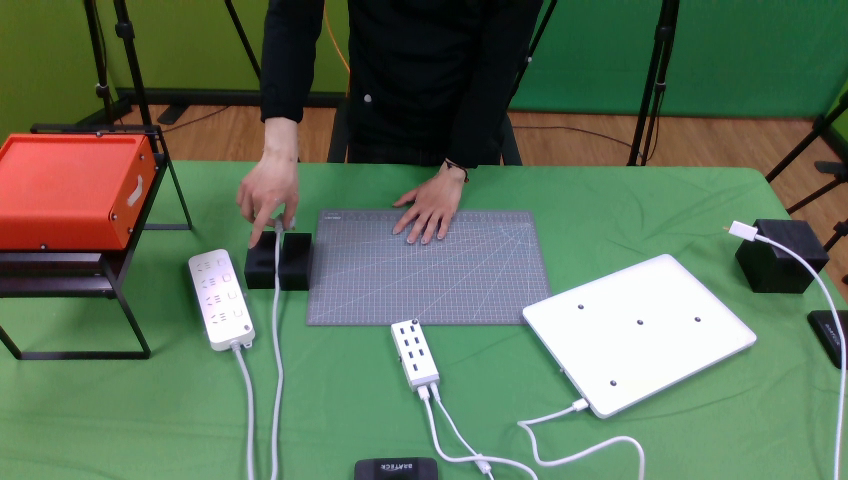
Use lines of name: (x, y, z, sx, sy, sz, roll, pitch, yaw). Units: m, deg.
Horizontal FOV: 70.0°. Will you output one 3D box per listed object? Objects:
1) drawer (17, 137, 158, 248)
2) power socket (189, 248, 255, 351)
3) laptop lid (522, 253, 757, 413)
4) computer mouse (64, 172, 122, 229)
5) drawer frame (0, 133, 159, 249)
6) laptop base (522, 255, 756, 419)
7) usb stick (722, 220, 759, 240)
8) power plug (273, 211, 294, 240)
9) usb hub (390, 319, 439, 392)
drawer: (-0.549, -0.078, 0.944, 0.212, 0.073, 0.193, 0, 47, -3)
power socket: (-0.358, 0.100, 1.068, 0.072, 0.033, 0.225, -17, 51, -18)
laptop lid: (0.380, 0.147, 1.073, 0.357, 0.013, 0.240, -17, 48, -19)
computer mouse: (-0.522, -0.066, 0.955, 0.063, 0.041, 0.116, 0, 48, -9)
drawer frame: (-0.553, -0.078, 0.942, 0.214, 0.083, 0.200, -1, 47, -4)
laptop base: (0.381, 0.157, 1.080, 0.355, 0.023, 0.234, -18, 48, -21)
usb stick: (0.593, -0.021, 1.139, 0.059, 0.027, 0.021, 22, 12, 28)
power plug: (-0.271, -0.023, 1.147, 0.035, 0.053, 0.072, 8, 63, 24)
usb hub: (-0.016, 0.190, 1.013, 0.049, 0.025, 0.124, -11, 48, -15)
